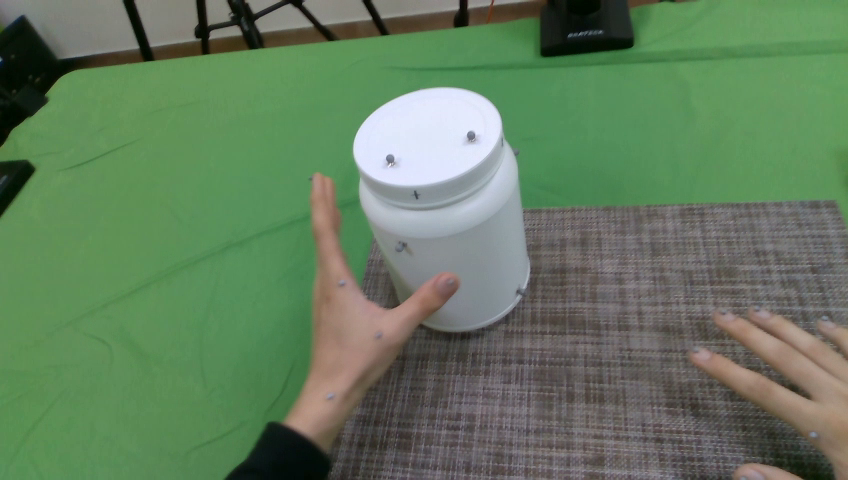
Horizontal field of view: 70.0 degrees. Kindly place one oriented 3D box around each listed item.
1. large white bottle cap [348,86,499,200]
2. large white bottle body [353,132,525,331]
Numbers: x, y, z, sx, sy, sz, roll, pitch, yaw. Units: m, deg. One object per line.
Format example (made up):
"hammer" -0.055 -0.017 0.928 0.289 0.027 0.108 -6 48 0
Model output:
"large white bottle cap" -0.001 -0.076 0.457 0.115 0.018 0.113 -7 48 8
"large white bottle body" 0.016 -0.022 0.520 0.130 0.186 0.129 -7 49 9
